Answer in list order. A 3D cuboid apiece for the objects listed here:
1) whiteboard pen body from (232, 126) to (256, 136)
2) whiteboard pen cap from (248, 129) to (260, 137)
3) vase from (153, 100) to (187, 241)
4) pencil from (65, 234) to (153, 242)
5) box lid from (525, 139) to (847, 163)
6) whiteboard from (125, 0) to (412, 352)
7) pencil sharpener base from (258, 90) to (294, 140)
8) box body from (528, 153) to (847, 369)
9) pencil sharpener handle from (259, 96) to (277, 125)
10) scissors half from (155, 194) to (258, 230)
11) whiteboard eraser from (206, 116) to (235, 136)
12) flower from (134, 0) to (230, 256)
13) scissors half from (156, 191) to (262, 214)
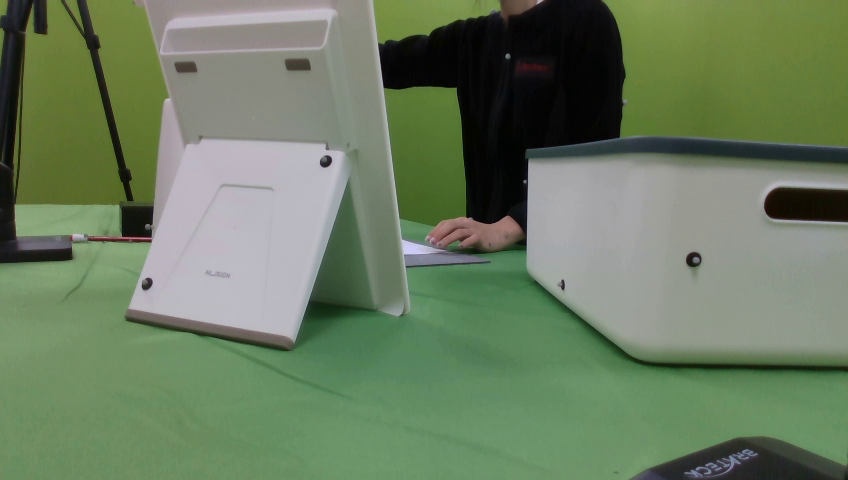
[{"bbox_3d":[-0.407,-0.247,1.372,0.017,0.017,0.140,-3,13,-35],"label":"whiteboard pen body"},{"bbox_3d":[-0.373,-0.236,1.326,0.018,0.018,0.033,-3,13,-34],"label":"whiteboard pen cap"},{"bbox_3d":[-0.278,-0.066,0.736,0.098,0.200,0.098,2,9,0],"label":"vase"},{"bbox_3d":[-0.429,-0.001,0.911,0.195,0.012,0.012,1,8,-20],"label":"pencil"},{"bbox_3d":[0.261,-0.078,0.580,0.264,0.015,0.371,2,7,-4],"label":"box lid"},{"bbox_3d":[-0.151,-0.049,0.471,0.216,0.305,0.144,6,27,24],"label":"whiteboard"},{"bbox_3d":[-0.341,-0.285,1.388,0.062,0.107,0.076,-4,9,-37],"label":"pencil sharpener base"},{"bbox_3d":[0.258,-0.005,0.591,0.254,0.160,0.363,2,7,-4],"label":"box body"},{"bbox_3d":[-0.373,-0.304,1.425,0.036,0.067,0.030,13,0,-38],"label":"pencil sharpener handle"},{"bbox_3d":[-0.378,-0.051,1.058,0.176,0.040,0.012,20,21,-30],"label":"scissors half"},{"bbox_3d":[-0.449,-0.251,1.335,0.056,0.042,0.112,1,7,-22],"label":"whiteboard eraser"},{"bbox_3d":[-0.282,-0.146,0.713,0.038,0.362,0.044,-23,23,-30],"label":"flower"},{"bbox_3d":[-0.371,-0.069,1.051,0.176,0.040,0.013,2,24,-24],"label":"scissors half"}]
